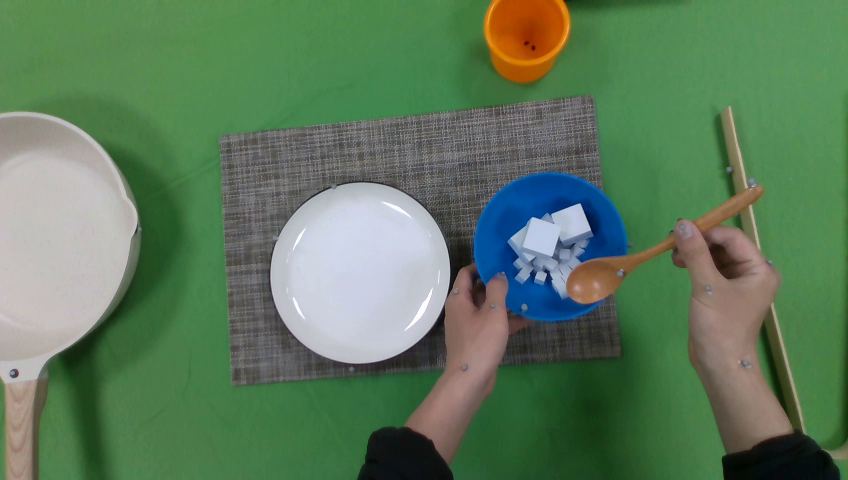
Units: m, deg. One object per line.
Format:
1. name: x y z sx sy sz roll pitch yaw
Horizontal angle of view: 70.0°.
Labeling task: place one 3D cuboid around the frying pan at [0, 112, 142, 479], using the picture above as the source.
1. frying pan: -0.456 0.099 0.692 0.306 0.103 0.485 -8 76 6

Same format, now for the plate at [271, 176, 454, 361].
1. plate: -0.068 0.032 0.691 0.207 0.039 0.207 0 85 6

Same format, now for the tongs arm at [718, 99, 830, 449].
1. tongs arm: 0.373 0.033 0.659 0.028 0.028 0.386 -12 85 2

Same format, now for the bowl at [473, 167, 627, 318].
1. bowl: 0.128 0.006 0.632 0.151 0.077 0.151 -1 83 9

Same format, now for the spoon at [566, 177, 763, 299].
1. spoon: 0.201 0.003 0.524 0.041 0.021 0.194 49 133 -4

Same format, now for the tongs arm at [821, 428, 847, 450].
1. tongs arm: 0.454 0.028 0.647 0.050 0.026 0.384 1 87 7
